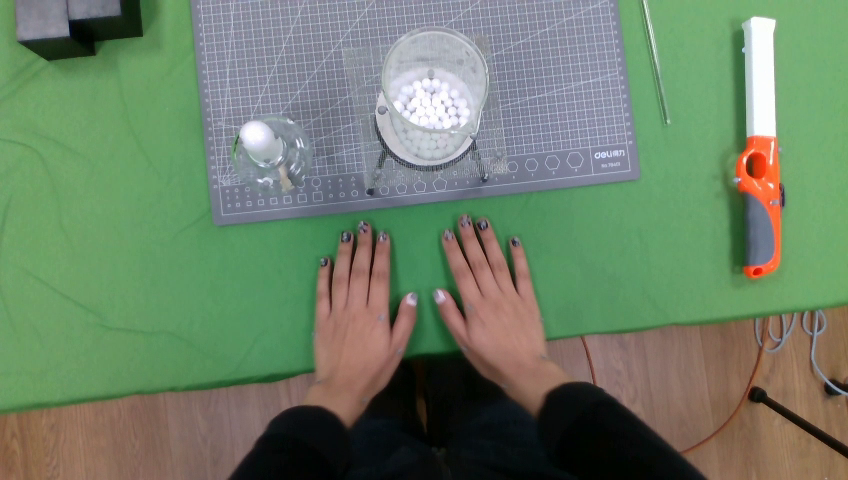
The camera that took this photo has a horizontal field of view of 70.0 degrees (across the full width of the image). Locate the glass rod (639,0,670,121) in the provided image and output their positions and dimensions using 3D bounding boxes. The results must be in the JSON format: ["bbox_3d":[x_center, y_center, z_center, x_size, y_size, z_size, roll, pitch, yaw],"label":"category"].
[{"bbox_3d":[0.243,-0.226,0.655,0.008,0.008,0.199,-11,87,-4],"label":"glass rod"}]

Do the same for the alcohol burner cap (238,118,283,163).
[{"bbox_3d":[-0.147,-0.090,0.538,0.034,0.048,0.034,0,82,0],"label":"alcohol burner cap"}]

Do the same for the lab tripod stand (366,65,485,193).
[{"bbox_3d":[-0.003,-0.103,0.572,0.148,0.131,0.148,0,86,-1],"label":"lab tripod stand"}]

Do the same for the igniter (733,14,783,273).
[{"bbox_3d":[0.355,-0.103,0.646,0.057,0.025,0.276,2,87,-14],"label":"igniter"}]

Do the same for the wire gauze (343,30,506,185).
[{"bbox_3d":[0.000,-0.111,0.507,0.125,0.011,0.121,-7,85,-1],"label":"wire gauze"}]

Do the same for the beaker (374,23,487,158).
[{"bbox_3d":[0.006,-0.104,0.459,0.074,0.100,0.084,-39,88,-4],"label":"beaker"}]

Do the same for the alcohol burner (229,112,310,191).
[{"bbox_3d":[-0.149,-0.088,0.574,0.078,0.119,0.077,0,84,-3],"label":"alcohol burner"}]
